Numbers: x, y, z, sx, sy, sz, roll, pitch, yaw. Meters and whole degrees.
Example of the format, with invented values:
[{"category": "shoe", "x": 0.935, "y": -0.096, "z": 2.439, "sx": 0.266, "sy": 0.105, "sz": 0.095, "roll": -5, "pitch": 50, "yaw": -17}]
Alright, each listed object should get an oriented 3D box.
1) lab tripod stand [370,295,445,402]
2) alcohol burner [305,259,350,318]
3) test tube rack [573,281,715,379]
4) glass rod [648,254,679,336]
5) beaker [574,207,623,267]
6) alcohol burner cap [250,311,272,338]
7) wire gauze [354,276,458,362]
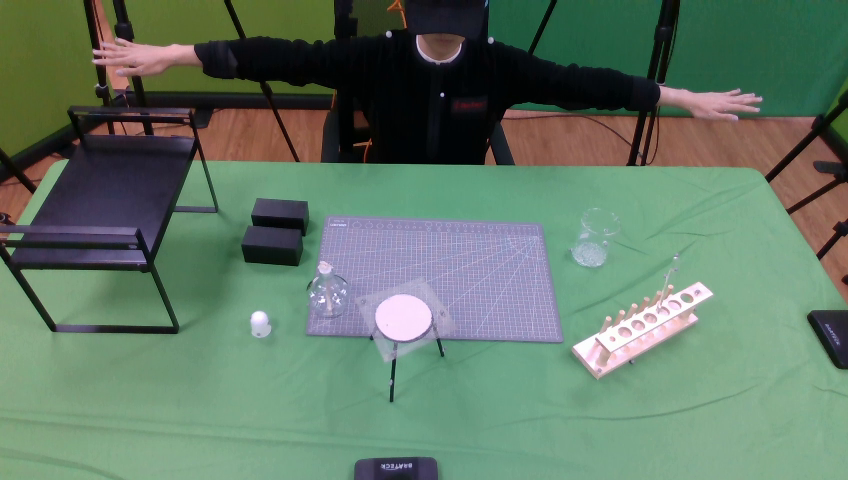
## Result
[{"category": "lab tripod stand", "x": -0.036, "y": 0.160, "z": 0.959, "sx": 0.148, "sy": 0.132, "sz": 0.147, "roll": 1, "pitch": 46, "yaw": 0}, {"category": "alcohol burner", "x": -0.166, "y": 0.078, "z": 1.040, "sx": 0.078, "sy": 0.120, "sz": 0.077, "roll": 1, "pitch": 44, "yaw": -1}, {"category": "test tube rack", "x": 0.378, "y": 0.140, "z": 1.038, "sx": 0.242, "sy": 0.085, "sz": 0.066, "roll": -22, "pitch": 51, "yaw": -22}, {"category": "glass rod", "x": 0.391, "y": 0.094, "z": 0.991, "sx": 0.008, "sy": 0.201, "sz": 0.008, "roll": -2, "pitch": 44, "yaw": 2}, {"category": "beaker", "x": 0.334, "y": -0.003, "z": 1.165, "sx": 0.084, "sy": 0.101, "sz": 0.073, "roll": -18, "pitch": 50, "yaw": -21}, {"category": "alcohol burner cap", "x": -0.278, "y": 0.141, "z": 1.026, "sx": 0.034, "sy": 0.048, "sz": 0.033, "roll": 1, "pitch": 46, "yaw": -1}, {"category": "wire gauze", "x": -0.029, "y": 0.113, "z": 0.912, "sx": 0.121, "sy": 0.011, "sz": 0.124, "roll": -18, "pitch": 49, "yaw": -19}]
